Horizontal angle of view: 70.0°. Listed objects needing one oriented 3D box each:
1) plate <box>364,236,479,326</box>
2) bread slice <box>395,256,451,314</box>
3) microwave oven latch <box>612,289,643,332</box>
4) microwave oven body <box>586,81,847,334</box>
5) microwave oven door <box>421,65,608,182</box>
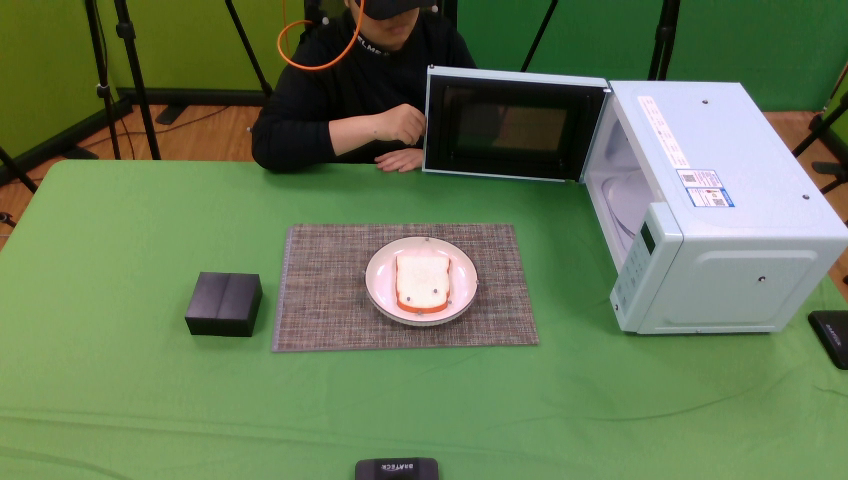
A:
[{"bbox_3d":[-0.004,0.078,1.107,0.209,0.038,0.208,2,46,-2],"label":"plate"},{"bbox_3d":[-0.001,0.079,1.109,0.105,0.019,0.130,1,45,-2],"label":"bread slice"},{"bbox_3d":[0.357,0.124,1.068,0.030,0.029,0.078,0,45,-3],"label":"microwave oven latch"},{"bbox_3d":[0.501,-0.070,1.132,0.326,0.261,0.438,-1,45,-3],"label":"microwave oven body"},{"bbox_3d":[0.177,-0.238,1.264,0.356,0.245,0.039,4,46,0],"label":"microwave oven door"}]
